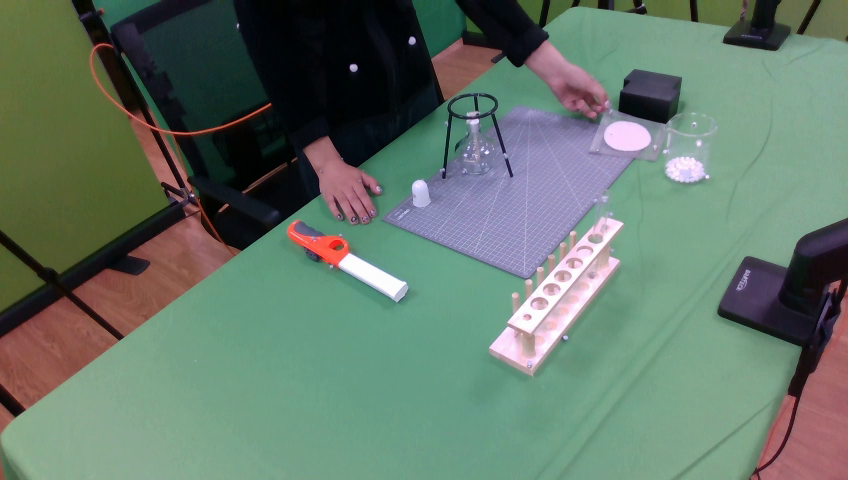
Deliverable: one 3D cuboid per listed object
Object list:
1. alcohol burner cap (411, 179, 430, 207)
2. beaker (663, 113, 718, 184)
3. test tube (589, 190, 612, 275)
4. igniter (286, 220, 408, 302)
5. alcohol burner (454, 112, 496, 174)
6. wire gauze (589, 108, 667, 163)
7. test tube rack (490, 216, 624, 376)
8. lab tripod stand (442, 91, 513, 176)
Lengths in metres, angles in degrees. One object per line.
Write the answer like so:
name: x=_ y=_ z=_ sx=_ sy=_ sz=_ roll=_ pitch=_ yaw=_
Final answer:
alcohol burner cap: x=-0.008 y=-0.085 z=1.063 sx=0.034 sy=0.048 sz=0.033 roll=-4 pitch=40 yaw=4
beaker: x=0.442 y=-0.151 z=1.018 sx=0.084 sy=0.101 sz=0.074 roll=-1 pitch=40 yaw=11
test tube: x=0.238 y=-0.006 z=0.818 sx=0.017 sy=0.151 sz=0.017 roll=-3 pitch=43 yaw=4
igniter: x=-0.134 y=0.028 z=0.969 sx=0.274 sy=0.025 sz=0.057 roll=26 pitch=61 yaw=35
alcohol burner: x=0.092 y=-0.181 z=1.102 sx=0.078 sy=0.119 sz=0.077 roll=-5 pitch=42 yaw=5
wire gauze: x=0.386 y=-0.197 z=1.139 sx=0.121 sy=0.011 sz=0.125 roll=18 pitch=55 yaw=16
test tube rack: x=0.184 y=0.064 z=0.822 sx=0.066 sy=0.085 sz=0.243 roll=24 pitch=50 yaw=33
lab tripod stand: x=0.096 y=-0.190 z=1.096 sx=0.148 sy=0.132 sz=0.147 roll=-4 pitch=40 yaw=4
